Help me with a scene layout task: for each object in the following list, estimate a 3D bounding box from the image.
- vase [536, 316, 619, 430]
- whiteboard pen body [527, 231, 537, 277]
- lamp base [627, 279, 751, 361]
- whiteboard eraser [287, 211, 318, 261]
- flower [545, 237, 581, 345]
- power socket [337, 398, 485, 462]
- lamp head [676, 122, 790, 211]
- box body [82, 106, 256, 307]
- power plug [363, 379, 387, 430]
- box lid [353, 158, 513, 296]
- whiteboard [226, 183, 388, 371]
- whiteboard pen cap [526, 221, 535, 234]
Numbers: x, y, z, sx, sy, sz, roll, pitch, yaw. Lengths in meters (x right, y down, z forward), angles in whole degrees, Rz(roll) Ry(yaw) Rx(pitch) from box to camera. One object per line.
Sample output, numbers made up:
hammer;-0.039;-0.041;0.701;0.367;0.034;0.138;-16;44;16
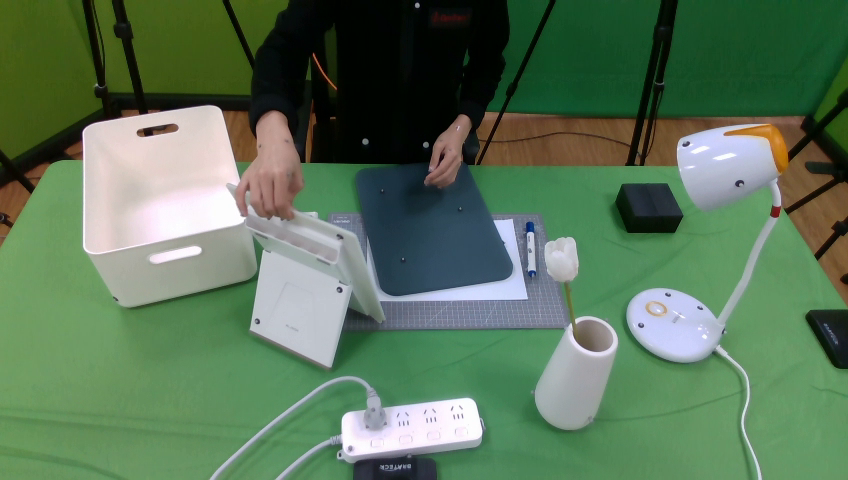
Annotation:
vase;0.229;0.200;0.901;0.098;0.201;0.097;3;46;-3
whiteboard pen body;0.211;0.018;1.191;0.017;0.017;0.140;6;44;2
lamp base;0.460;0.100;1.027;0.178;0.181;0.160;27;51;17
whiteboard eraser;-0.234;-0.007;1.172;0.055;0.042;0.112;-3;46;-5
flower;0.213;0.137;0.846;0.038;0.364;0.044;21;55;39
power socket;-0.018;0.285;0.914;0.227;0.033;0.071;-4;46;-8
lamp head;0.423;-0.104;0.819;0.122;0.113;0.112;-13;33;40
box body;-0.471;-0.071;1.131;0.254;0.161;0.361;-14;49;-17
power plug;-0.071;0.252;0.911;0.035;0.053;0.072;3;40;0
box lid;0.008;-0.040;1.242;0.264;0.015;0.369;-8;47;-12
whiteboard;-0.204;0.080;0.939;0.216;0.307;0.143;22;65;17
whiteboard pen cap;0.216;-0.022;1.234;0.018;0.018;0.033;6;44;1
